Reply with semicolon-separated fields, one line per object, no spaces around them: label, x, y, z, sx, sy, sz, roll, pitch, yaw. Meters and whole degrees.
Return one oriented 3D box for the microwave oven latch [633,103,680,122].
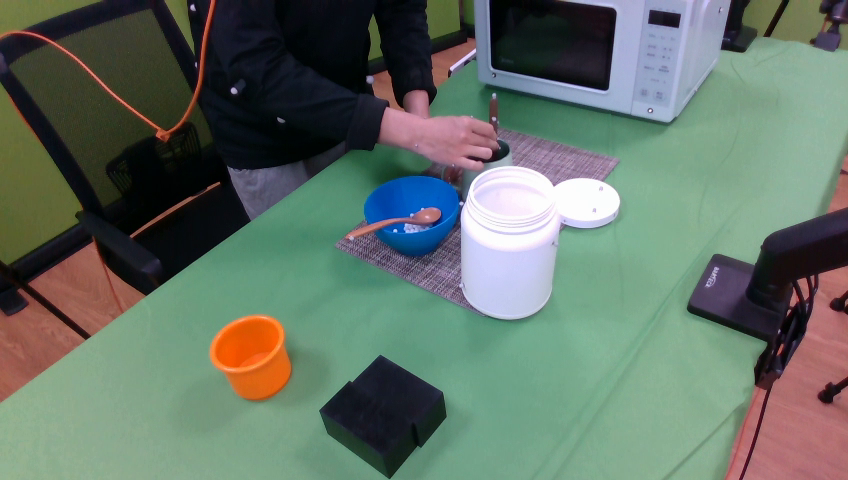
microwave oven latch;0.443;-0.249;1.157;0.078;0.029;0.030;21;48;30

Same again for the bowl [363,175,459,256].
bowl;-0.017;-0.028;0.955;0.151;0.077;0.150;-4;40;4

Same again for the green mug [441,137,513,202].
green mug;0.090;-0.108;1.012;0.125;0.105;0.092;2;42;11

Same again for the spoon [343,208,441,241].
spoon;-0.046;-0.025;0.911;0.041;0.021;0.195;26;27;37

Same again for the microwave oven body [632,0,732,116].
microwave oven body;0.377;-0.463;1.267;0.438;0.261;0.327;21;48;30

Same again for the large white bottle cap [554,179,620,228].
large white bottle cap;0.265;-0.062;1.001;0.115;0.018;0.114;-3;41;3

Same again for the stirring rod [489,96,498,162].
stirring rod;0.112;-0.150;0.975;0.014;0.177;0.005;-20;40;-18

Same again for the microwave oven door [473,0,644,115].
microwave oven door;0.257;-0.396;1.199;0.353;0.245;0.039;21;48;29

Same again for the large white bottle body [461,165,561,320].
large white bottle body;0.115;0.004;0.816;0.130;0.185;0.130;-2;43;2
